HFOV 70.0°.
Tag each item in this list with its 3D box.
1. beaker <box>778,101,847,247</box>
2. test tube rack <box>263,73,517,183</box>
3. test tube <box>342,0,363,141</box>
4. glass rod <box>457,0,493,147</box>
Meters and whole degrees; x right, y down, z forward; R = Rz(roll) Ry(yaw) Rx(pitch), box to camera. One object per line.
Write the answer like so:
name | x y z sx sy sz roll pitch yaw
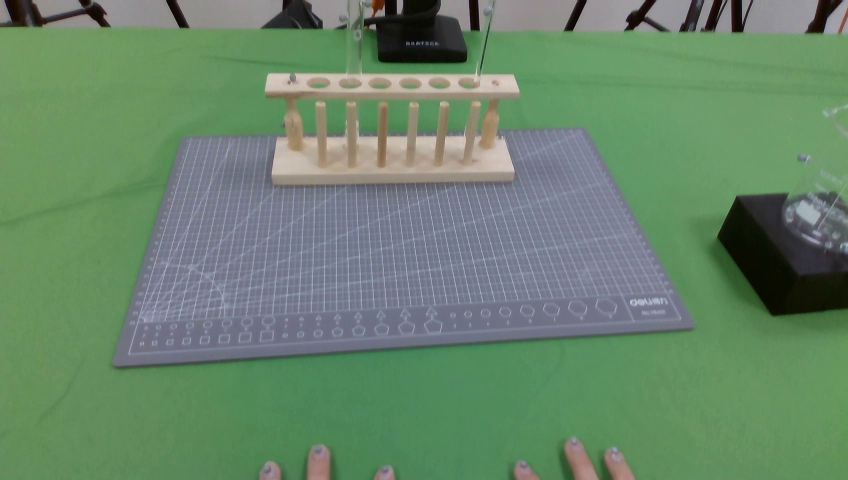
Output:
beaker | 0.339 -0.051 0.488 0.074 0.101 0.083 -26 50 -28
test tube rack | -0.031 -0.112 0.605 0.243 0.086 0.066 -2 43 -6
test tube | -0.069 -0.159 0.580 0.017 0.151 0.017 5 41 -4
glass rod | 0.050 -0.170 0.575 0.008 0.201 0.008 5 45 -5
